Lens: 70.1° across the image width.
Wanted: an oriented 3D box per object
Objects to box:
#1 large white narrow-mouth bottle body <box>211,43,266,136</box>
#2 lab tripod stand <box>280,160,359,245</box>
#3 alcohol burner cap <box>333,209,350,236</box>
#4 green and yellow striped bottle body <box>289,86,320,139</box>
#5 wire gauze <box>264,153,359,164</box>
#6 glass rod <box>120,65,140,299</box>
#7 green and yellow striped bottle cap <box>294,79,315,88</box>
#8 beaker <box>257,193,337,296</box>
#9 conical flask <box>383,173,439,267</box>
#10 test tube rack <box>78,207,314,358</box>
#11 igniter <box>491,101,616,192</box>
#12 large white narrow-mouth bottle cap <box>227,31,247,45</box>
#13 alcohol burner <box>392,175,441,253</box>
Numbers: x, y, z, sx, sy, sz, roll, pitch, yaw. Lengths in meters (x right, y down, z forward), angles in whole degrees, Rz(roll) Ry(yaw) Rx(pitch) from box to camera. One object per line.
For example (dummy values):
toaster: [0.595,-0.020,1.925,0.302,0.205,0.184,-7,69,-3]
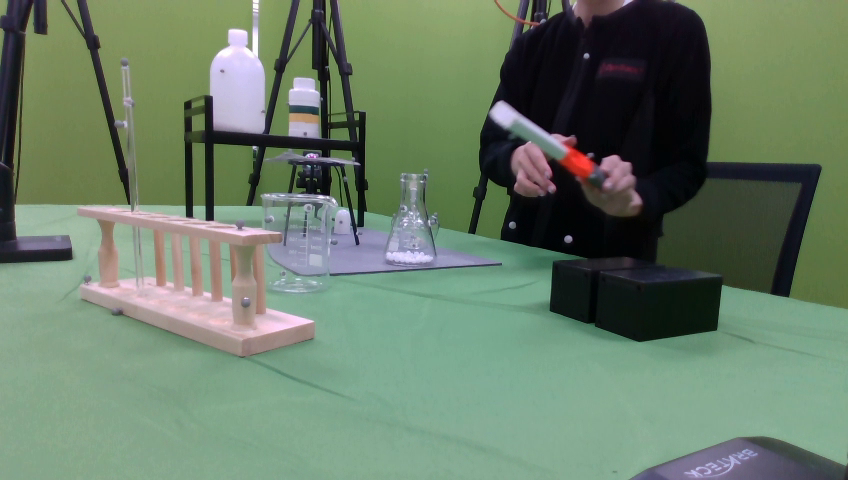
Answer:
large white narrow-mouth bottle body: [-0.361,-0.302,1.176,0.102,0.194,0.102,1,7,0]
lab tripod stand: [-0.176,-0.062,0.973,0.148,0.131,0.148,1,7,0]
alcohol burner cap: [-0.151,-0.033,1.116,0.034,0.048,0.034,4,7,0]
green and yellow striped bottle body: [-0.250,-0.272,1.261,0.063,0.119,0.063,3,7,0]
wire gauze: [-0.181,-0.130,0.969,0.126,0.011,0.121,-1,6,-27]
glass rod: [-0.249,-0.047,0.513,0.008,0.199,0.008,-1,4,0]
green and yellow striped bottle cap: [-0.248,-0.323,1.256,0.045,0.020,0.045,3,9,0]
beaker: [-0.130,0.004,0.628,0.084,0.100,0.074,5,8,15]
conical flask: [-0.016,-0.029,0.808,0.075,0.122,0.075,2,8,0]
test tube rack: [-0.196,0.024,0.500,0.241,0.085,0.067,8,8,37]
igniter: [0.168,-0.105,0.731,0.278,0.025,0.057,17,28,-50]
large white narrow-mouth bottle cap: [-0.361,-0.387,1.166,0.038,0.024,0.037,1,7,0]
alcohol burner: [-0.012,-0.041,0.944,0.078,0.119,0.078,0,7,0]
